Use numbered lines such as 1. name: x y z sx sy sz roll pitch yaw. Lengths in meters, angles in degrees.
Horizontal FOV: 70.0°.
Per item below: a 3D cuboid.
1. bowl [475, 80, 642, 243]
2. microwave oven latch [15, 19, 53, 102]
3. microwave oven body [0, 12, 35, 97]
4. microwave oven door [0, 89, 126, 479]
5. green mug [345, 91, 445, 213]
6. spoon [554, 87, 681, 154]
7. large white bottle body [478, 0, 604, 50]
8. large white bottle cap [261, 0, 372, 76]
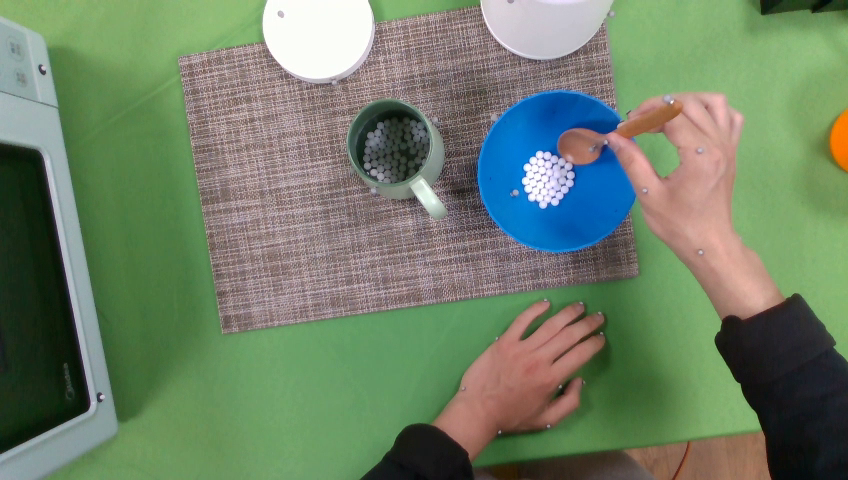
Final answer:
1. bowl: 0.125 -0.073 0.594 0.151 0.077 0.151 0 93 4
2. microwave oven latch: -0.410 -0.182 0.624 0.030 0.029 0.079 -10 93 3
3. microwave oven body: -0.530 0.022 0.545 0.326 0.260 0.442 -10 93 3
4. microwave oven door: -0.379 0.038 0.533 0.039 0.244 0.356 -11 92 4
5. green mug: -0.019 -0.081 0.589 0.092 0.105 0.125 -36 91 4
6. spoon: 0.159 -0.098 0.515 0.042 0.193 0.021 44 85 -8
7. large white bottle body: 0.111 -0.260 0.531 0.130 0.185 0.130 0 89 4
8. large white bottle cap: -0.112 -0.230 0.629 0.115 0.018 0.115 0 92 3
